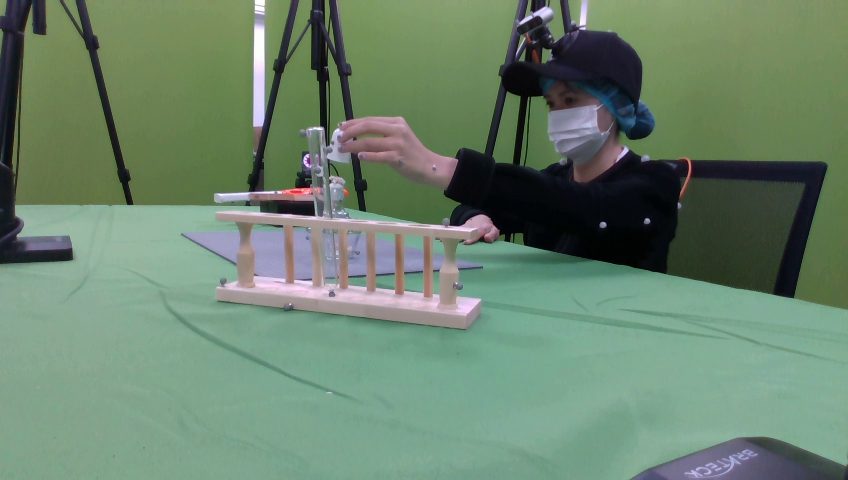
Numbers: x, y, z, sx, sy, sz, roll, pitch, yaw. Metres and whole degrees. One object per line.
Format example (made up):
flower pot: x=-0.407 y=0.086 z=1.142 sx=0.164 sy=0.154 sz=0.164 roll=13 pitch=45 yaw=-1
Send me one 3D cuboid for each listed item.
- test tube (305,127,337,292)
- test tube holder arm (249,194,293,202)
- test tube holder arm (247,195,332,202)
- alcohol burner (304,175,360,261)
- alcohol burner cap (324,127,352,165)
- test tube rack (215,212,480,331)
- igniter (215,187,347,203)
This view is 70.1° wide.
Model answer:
test tube: x=-0.092 y=-0.026 z=0.546 sx=0.017 sy=0.150 sz=0.017 roll=-4 pitch=8 yaw=1
test tube holder arm: x=-0.303 y=-0.084 z=1.200 sx=0.088 sy=0.015 sz=0.010 roll=-2 pitch=3 yaw=-35
test tube holder arm: x=-0.269 y=-0.085 z=1.231 sx=0.179 sy=0.015 sz=0.013 roll=-2 pitch=3 yaw=-36
alcohol burner: x=-0.126 y=-0.031 z=0.838 sx=0.078 sy=0.119 sz=0.078 roll=3 pitch=5 yaw=0
alcohol burner cap: x=-0.114 y=-0.128 z=0.816 sx=0.034 sy=0.048 sz=0.034 roll=14 pitch=12 yaw=-3
test tube rack: x=-0.071 y=0.023 z=0.565 sx=0.242 sy=0.085 sz=0.067 roll=5 pitch=7 yaw=16
igniter: x=-0.293 y=-0.095 z=1.267 sx=0.278 sy=0.025 sz=0.057 roll=-6 pitch=12 yaw=-33
